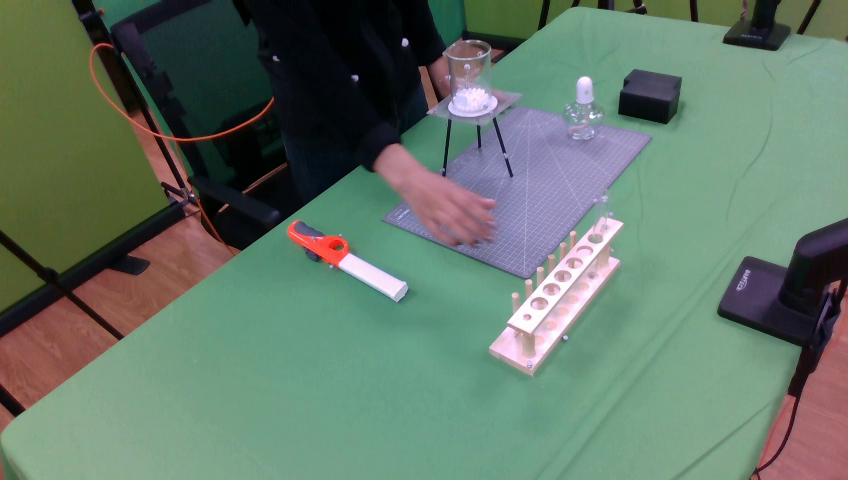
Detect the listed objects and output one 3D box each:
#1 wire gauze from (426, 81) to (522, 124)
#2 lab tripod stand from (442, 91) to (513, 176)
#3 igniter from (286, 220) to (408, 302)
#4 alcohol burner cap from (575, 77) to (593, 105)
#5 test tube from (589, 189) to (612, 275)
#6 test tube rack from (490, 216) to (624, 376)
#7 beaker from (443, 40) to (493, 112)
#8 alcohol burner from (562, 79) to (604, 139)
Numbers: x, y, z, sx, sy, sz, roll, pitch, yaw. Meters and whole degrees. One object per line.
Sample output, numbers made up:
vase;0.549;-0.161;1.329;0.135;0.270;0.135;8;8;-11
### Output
wire gauze;0.088;-0.237;1.051;0.120;0.011;0.125;23;47;29
lab tripod stand;0.096;-0.190;1.096;0.148;0.132;0.147;-4;40;4
igniter;-0.134;0.028;0.969;0.274;0.025;0.057;26;61;35
alcohol burner cap;0.297;-0.279;1.123;0.034;0.048;0.033;-8;41;8
test tube;0.238;-0.007;0.818;0.017;0.151;0.017;-3;43;4
test tube rack;0.184;0.064;0.822;0.066;0.085;0.243;24;50;33
beaker;0.075;-0.276;1.023;0.083;0.101;0.074;5;42;15
alcohol burner;0.303;-0.253;1.147;0.078;0.119;0.077;-4;41;4
